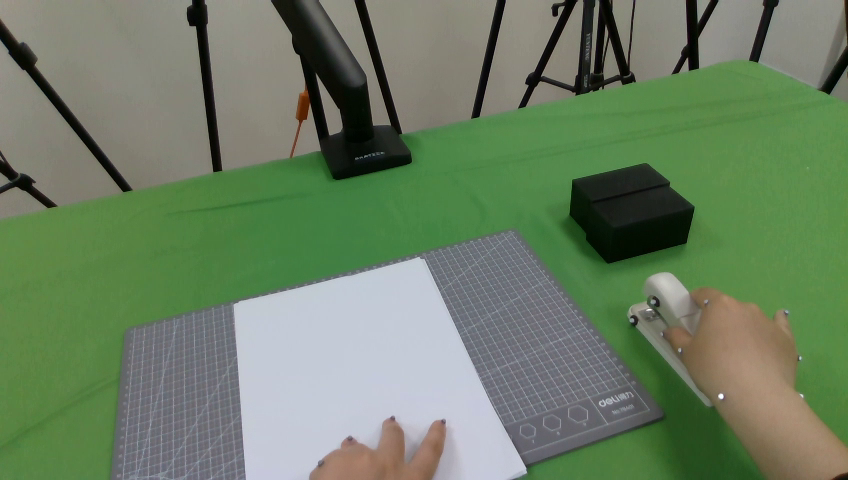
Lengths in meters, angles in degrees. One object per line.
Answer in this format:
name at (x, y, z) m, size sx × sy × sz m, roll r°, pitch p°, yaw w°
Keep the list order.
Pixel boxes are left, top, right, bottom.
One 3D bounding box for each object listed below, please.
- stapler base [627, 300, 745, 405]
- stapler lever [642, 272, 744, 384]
stapler base at (0.240, 0.094, 0.562) m, size 0.041 × 0.024 × 0.129 m, roll -15°, pitch 40°, yaw -12°
stapler lever at (0.239, 0.074, 0.545) m, size 0.027 × 0.040 × 0.116 m, roll -16°, pitch 40°, yaw -12°
